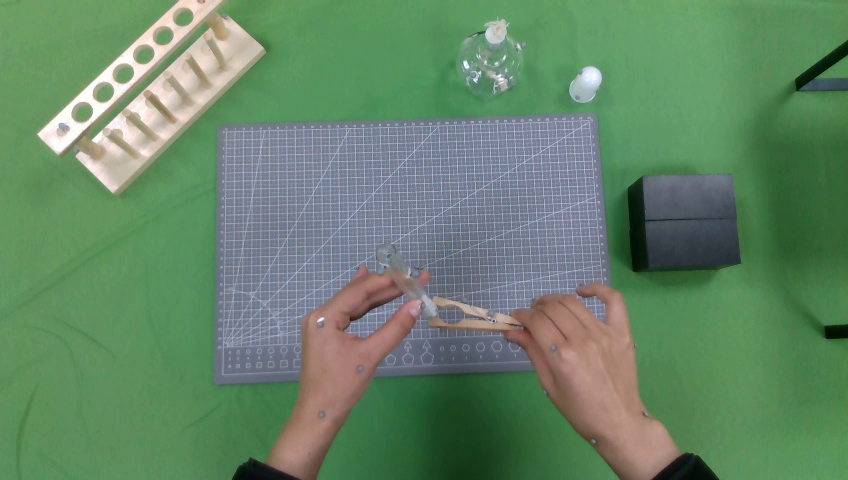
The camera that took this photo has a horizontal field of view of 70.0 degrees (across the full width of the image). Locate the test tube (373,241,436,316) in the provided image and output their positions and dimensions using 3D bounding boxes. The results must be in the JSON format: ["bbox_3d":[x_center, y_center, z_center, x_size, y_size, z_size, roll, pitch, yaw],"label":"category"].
[{"bbox_3d":[-0.012,0.035,0.476,0.017,0.151,0.017,-5,67,12],"label":"test tube"}]

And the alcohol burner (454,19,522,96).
[{"bbox_3d":[0.074,-0.210,0.679,0.078,0.119,0.077,0,79,-2],"label":"alcohol burner"}]

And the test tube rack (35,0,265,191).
[{"bbox_3d":[-0.298,-0.171,0.680,0.066,0.085,0.242,43,83,6],"label":"test tube rack"}]

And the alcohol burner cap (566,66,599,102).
[{"bbox_3d":[0.189,-0.186,0.713,0.034,0.048,0.033,0,80,-1],"label":"alcohol burner cap"}]

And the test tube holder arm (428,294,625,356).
[{"bbox_3d":[0.089,0.076,0.545,0.178,0.015,0.013,13,79,11],"label":"test tube holder arm"}]

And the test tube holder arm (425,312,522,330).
[{"bbox_3d":[0.045,0.074,0.552,0.087,0.015,0.010,3,76,9],"label":"test tube holder arm"}]
